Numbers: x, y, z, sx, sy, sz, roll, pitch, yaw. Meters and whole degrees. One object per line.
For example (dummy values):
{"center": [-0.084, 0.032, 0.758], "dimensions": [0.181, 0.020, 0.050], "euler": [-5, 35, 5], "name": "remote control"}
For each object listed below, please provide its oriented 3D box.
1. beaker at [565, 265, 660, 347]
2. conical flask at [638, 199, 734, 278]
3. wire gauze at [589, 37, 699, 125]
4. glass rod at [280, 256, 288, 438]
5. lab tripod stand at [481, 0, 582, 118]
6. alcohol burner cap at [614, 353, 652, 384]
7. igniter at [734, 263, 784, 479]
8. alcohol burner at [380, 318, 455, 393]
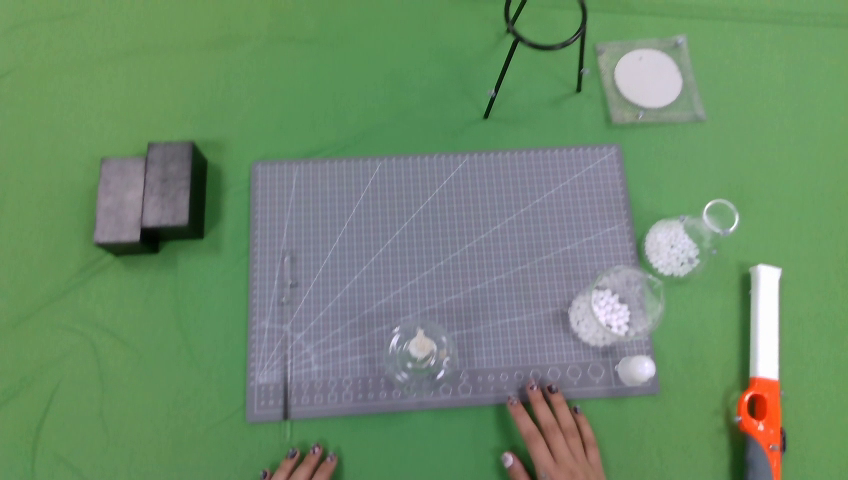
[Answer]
{"center": [0.197, 0.073, 0.643], "dimensions": [0.084, 0.101, 0.073], "euler": [-26, 76, -9], "name": "beaker"}
{"center": [0.289, -0.007, 0.660], "dimensions": [0.075, 0.122, 0.075], "euler": [0, 73, -1], "name": "conical flask"}
{"center": [0.282, -0.203, 0.775], "dimensions": [0.125, 0.011, 0.120], "euler": [-4, 74, -5], "name": "wire gauze"}
{"center": [-0.154, 0.114, 0.667], "dimensions": [0.008, 0.008, 0.198], "euler": [-2, 77, -3], "name": "glass rod"}
{"center": [0.123, -0.221, 0.710], "dimensions": [0.148, 0.132, 0.147], "euler": [1, 76, -2], "name": "lab tripod stand"}
{"center": [0.229, 0.137, 0.656], "dimensions": [0.034, 0.048, 0.033], "euler": [1, 73, -1], "name": "alcohol burner cap"}
{"center": [0.368, 0.160, 0.664], "dimensions": [0.057, 0.025, 0.275], "euler": [13, 74, -9], "name": "igniter"}
{"center": [-0.007, 0.115, 0.618], "dimensions": [0.078, 0.120, 0.077], "euler": [0, 73, 1], "name": "alcohol burner"}
